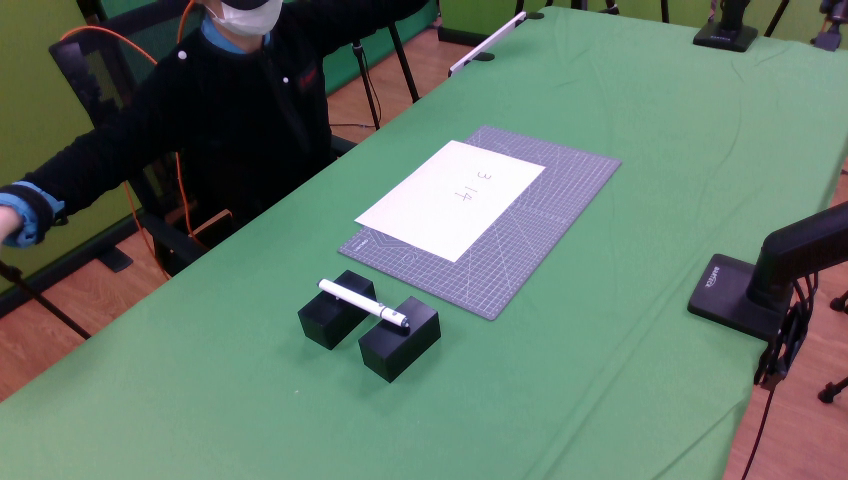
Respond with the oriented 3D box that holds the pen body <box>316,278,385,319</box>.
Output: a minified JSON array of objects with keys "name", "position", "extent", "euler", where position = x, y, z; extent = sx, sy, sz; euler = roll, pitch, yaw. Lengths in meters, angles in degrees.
[{"name":"pen body","position":[-0.088,0.083,0.813],"extent":[0.143,0.017,0.017],"euler":[21,48,29]}]

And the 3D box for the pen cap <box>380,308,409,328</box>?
[{"name":"pen cap","position":[-0.037,0.102,0.782],"extent":[0.038,0.017,0.017],"euler":[19,47,29]}]
